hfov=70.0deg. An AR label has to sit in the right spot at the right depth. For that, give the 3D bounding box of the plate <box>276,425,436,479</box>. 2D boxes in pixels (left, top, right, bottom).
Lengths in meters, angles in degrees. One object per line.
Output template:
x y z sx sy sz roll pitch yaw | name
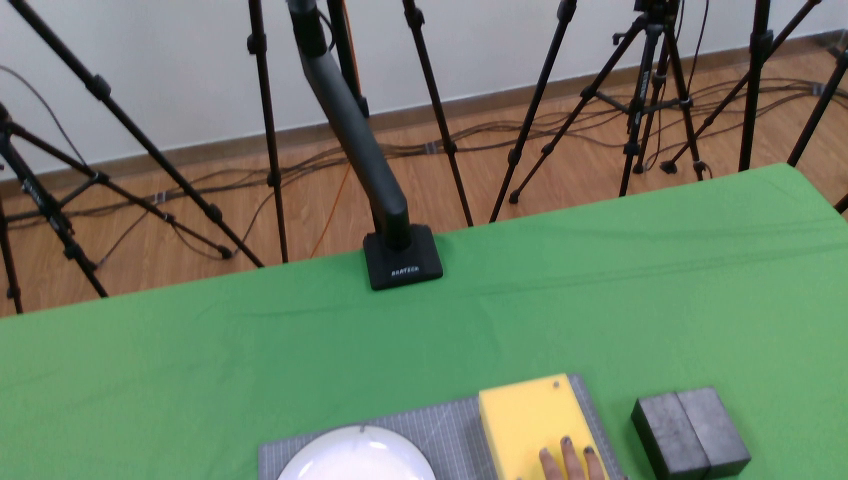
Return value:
-0.082 0.327 0.728 0.209 0.038 0.207 -2 48 3 | plate

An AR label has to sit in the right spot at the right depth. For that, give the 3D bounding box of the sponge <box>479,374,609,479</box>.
0.150 0.276 0.738 0.118 0.061 0.204 -12 48 -6 | sponge
